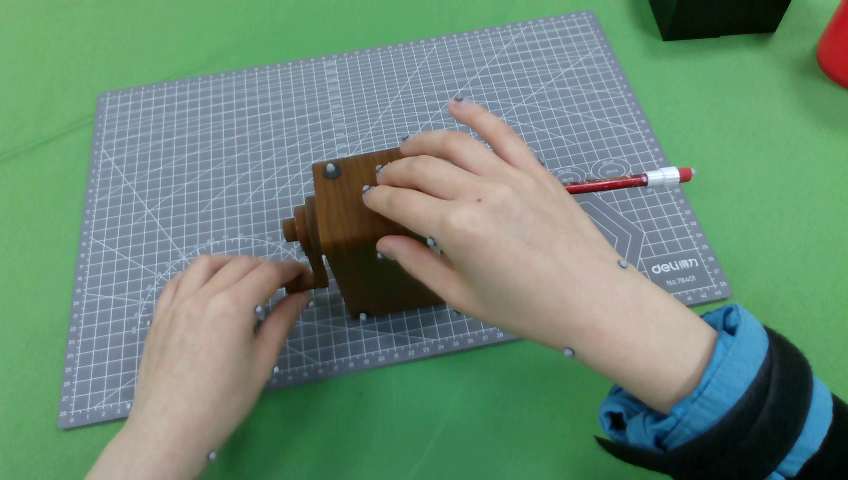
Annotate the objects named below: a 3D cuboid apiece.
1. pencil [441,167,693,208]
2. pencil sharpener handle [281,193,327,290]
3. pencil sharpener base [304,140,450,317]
[{"bbox_3d":[0.068,-0.029,0.365,0.194,0.012,0.012,-7,59,-5],"label":"pencil"},{"bbox_3d":[-0.077,0.005,0.365,0.030,0.068,0.035,-11,43,-3],"label":"pencil sharpener handle"},{"bbox_3d":[-0.027,-0.002,0.381,0.077,0.108,0.061,-11,59,-3],"label":"pencil sharpener base"}]
